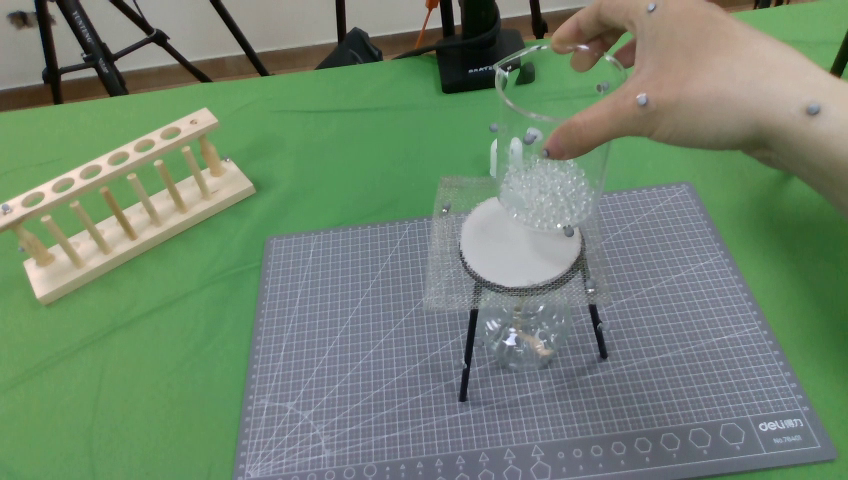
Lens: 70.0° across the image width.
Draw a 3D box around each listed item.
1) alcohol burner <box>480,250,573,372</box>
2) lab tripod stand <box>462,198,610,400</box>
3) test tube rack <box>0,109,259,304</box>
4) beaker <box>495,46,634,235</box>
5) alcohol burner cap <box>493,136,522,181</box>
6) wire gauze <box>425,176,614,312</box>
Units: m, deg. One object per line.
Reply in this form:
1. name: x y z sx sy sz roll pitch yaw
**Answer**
1. alcohol burner: 0.081 0.052 0.483 0.078 0.120 0.077 -5 46 5
2. lab tripod stand: 0.077 0.047 0.475 0.148 0.133 0.147 -4 50 5
3. test tube rack: -0.309 -0.040 0.644 0.242 0.086 0.066 -32 52 -20
4. beaker: 0.080 -0.059 0.382 0.083 0.101 0.074 29 57 26
5. alcohol burner cap: 0.092 -0.091 0.663 0.034 0.048 0.033 -5 49 6
6. wire gauze: 0.066 -0.002 0.428 0.121 0.011 0.124 1 51 8
